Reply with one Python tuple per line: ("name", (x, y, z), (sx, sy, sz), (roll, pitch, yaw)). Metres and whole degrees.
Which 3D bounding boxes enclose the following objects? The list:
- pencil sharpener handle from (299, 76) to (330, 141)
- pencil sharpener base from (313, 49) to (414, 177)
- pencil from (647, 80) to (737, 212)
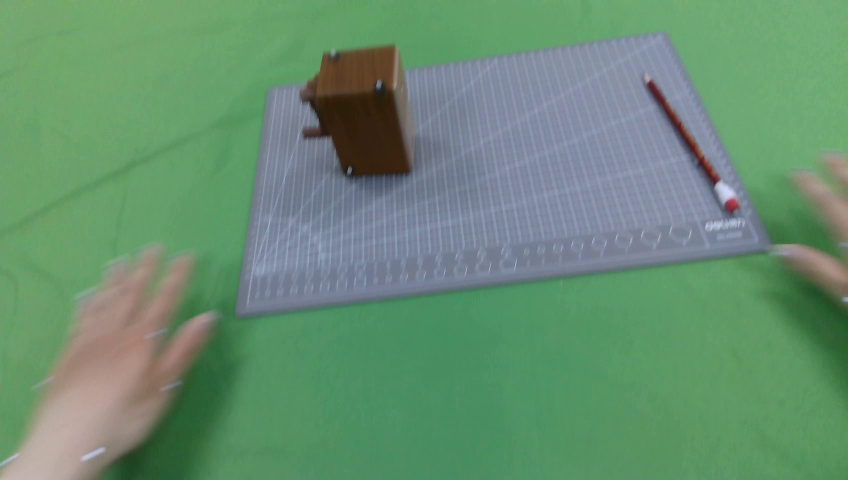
("pencil sharpener handle", (-0.107, -0.119, 0.563), (0.030, 0.068, 0.035), (-4, 52, 6))
("pencil sharpener base", (-0.054, -0.115, 0.568), (0.076, 0.108, 0.061), (-4, 53, 6))
("pencil", (0.247, -0.097, 0.572), (0.012, 0.012, 0.192), (-11, 48, 1))
